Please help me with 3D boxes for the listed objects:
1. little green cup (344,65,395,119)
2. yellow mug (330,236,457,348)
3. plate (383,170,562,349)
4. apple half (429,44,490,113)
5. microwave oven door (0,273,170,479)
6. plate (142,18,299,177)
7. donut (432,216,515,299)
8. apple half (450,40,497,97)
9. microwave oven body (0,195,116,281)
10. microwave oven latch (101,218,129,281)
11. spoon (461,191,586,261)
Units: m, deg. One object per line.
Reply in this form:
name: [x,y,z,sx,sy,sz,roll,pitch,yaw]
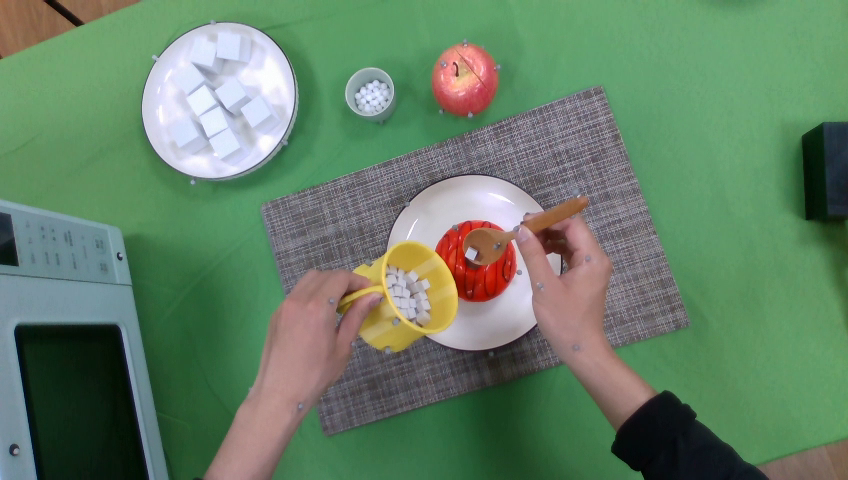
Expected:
little green cup: [-0.065,-0.182,0.755,0.061,0.039,0.061,-1,84,9]
yellow mug: [-0.035,0.055,0.607,0.064,0.131,0.099,-31,70,41]
plate: [0.055,0.022,0.714,0.209,0.038,0.208,-1,84,8]
apple half: [0.036,-0.184,0.724,0.053,0.075,0.080,-39,83,7]
microwave oven door: [-0.360,0.212,0.634,0.039,0.245,0.354,-16,82,6]
plate: [-0.258,-0.180,0.782,0.207,0.039,0.207,-1,84,8]
donut: [0.056,0.020,0.702,0.099,0.048,0.099,-1,86,9]
apple half: [0.066,-0.209,0.721,0.033,0.081,0.081,-39,80,6]
microwave oven body: [-0.509,0.211,0.660,0.326,0.261,0.440,-15,83,6]
microwave oven latch: [-0.397,0.014,0.763,0.030,0.029,0.079,-14,83,6]
spoon: [0.086,-0.011,0.562,0.021,0.193,0.041,-35,94,-25]
